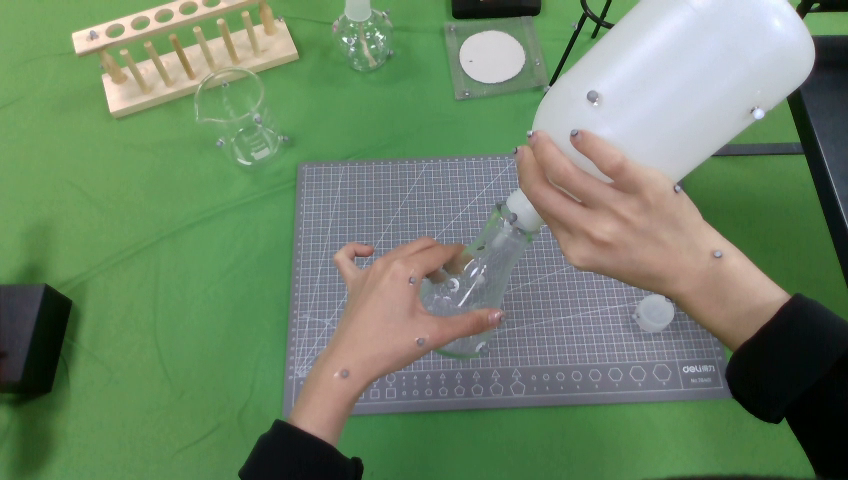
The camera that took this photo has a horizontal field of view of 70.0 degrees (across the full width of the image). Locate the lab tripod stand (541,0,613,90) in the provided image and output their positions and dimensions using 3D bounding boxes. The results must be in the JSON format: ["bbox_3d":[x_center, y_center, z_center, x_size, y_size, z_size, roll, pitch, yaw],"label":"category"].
[{"bbox_3d":[0.216,-0.240,0.715,0.148,0.132,0.147,0,64,-1],"label":"lab tripod stand"}]

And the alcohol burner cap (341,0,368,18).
[{"bbox_3d":[-0.082,-0.290,0.714,0.034,0.048,0.033,3,64,-7],"label":"alcohol burner cap"}]

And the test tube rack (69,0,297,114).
[{"bbox_3d":[-0.292,-0.244,0.752,0.242,0.086,0.066,-21,67,-9],"label":"test tube rack"}]

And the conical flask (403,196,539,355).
[{"bbox_3d":[0.040,0.024,0.458,0.076,0.122,0.074,21,34,-15],"label":"conical flask"}]

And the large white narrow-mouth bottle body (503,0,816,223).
[{"bbox_3d":[0.131,-0.082,0.389,0.195,0.102,0.101,-42,65,23],"label":"large white narrow-mouth bottle body"}]

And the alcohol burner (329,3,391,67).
[{"bbox_3d":[-0.081,-0.273,0.746,0.078,0.120,0.077,0,63,0],"label":"alcohol burner"}]

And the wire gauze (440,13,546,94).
[{"bbox_3d":[0.089,-0.247,0.789,0.121,0.011,0.124,-7,65,-3],"label":"wire gauze"}]

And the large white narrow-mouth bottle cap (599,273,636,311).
[{"bbox_3d":[0.205,0.056,0.642,0.038,0.024,0.037,-1,65,3],"label":"large white narrow-mouth bottle cap"}]

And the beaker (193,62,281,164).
[{"bbox_3d":[-0.212,-0.139,0.695,0.084,0.101,0.073,-42,71,-16],"label":"beaker"}]

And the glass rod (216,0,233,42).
[{"bbox_3d":[-0.246,-0.306,0.706,0.008,0.201,0.008,2,63,-3],"label":"glass rod"}]
